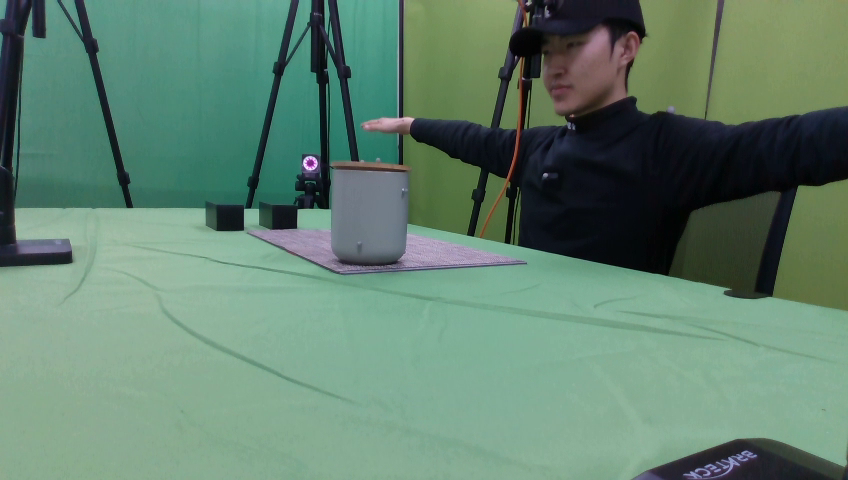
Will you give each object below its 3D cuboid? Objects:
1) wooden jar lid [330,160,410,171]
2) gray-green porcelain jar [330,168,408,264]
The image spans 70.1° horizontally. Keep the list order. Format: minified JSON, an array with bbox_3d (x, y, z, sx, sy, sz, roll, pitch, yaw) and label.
[{"bbox_3d":[-0.074,-0.096,0.825,0.108,0.020,0.108,3,3,0],"label":"wooden jar lid"},{"bbox_3d":[-0.075,-0.035,0.833,0.106,0.126,0.106,2,7,0],"label":"gray-green porcelain jar"}]
